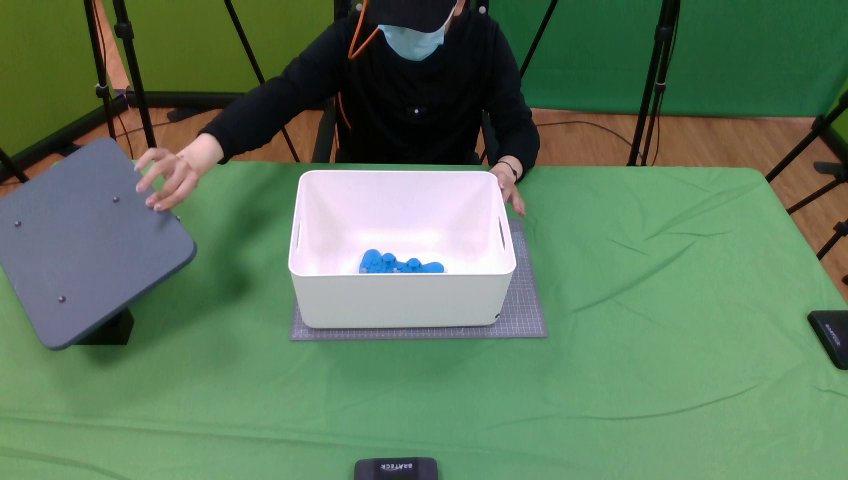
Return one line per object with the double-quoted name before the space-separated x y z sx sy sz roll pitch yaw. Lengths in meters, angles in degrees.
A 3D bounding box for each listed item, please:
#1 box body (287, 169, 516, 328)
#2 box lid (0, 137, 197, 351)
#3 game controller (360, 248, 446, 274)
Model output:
"box body" -0.040 0.015 1.075 0.364 0.161 0.252 -1 47 -4
"box lid" -0.562 -0.011 1.006 0.263 0.015 0.369 -39 60 -16
"game controller" -0.043 0.056 1.107 0.155 0.052 0.096 12 52 8
